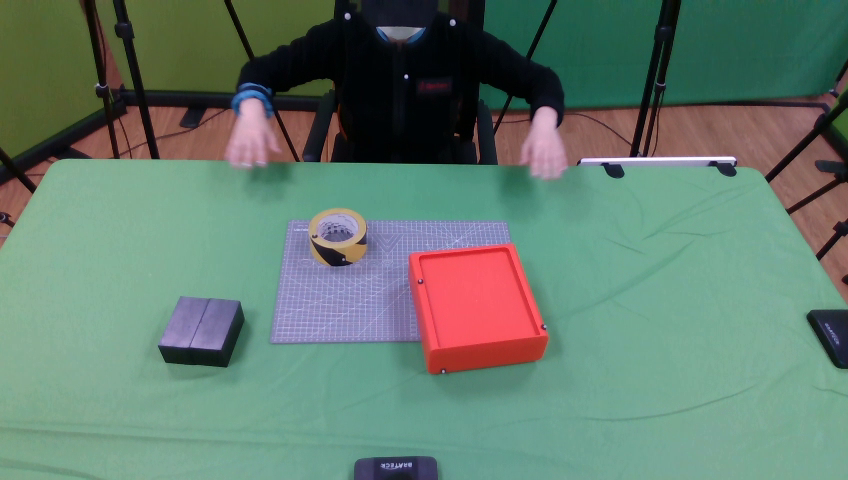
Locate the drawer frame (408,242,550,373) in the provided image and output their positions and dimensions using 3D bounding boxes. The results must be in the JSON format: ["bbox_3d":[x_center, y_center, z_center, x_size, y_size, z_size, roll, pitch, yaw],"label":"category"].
[{"bbox_3d":[0.087,0.111,1.051,0.202,0.083,0.212,-6,48,-10],"label":"drawer frame"}]

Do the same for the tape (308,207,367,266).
[{"bbox_3d":[-0.167,-0.008,1.167,0.117,0.053,0.116,3,46,-2],"label":"tape"}]

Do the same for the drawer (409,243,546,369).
[{"bbox_3d":[0.085,0.110,1.053,0.195,0.073,0.210,-5,47,-10],"label":"drawer"}]
